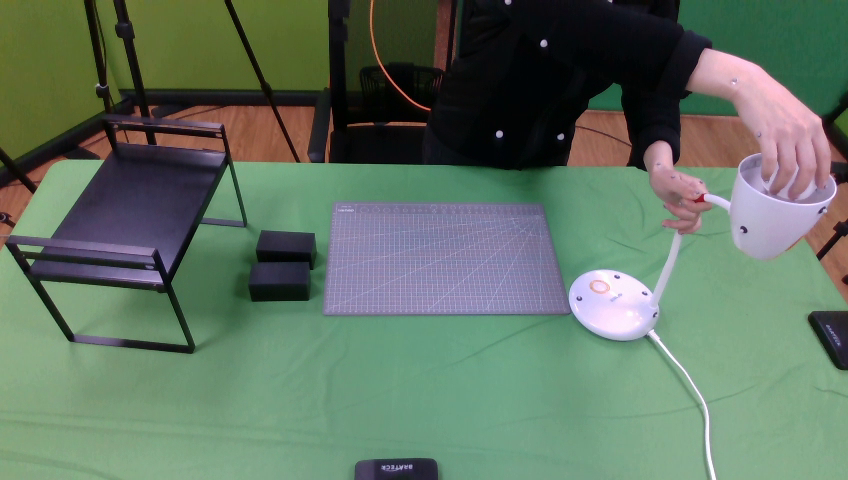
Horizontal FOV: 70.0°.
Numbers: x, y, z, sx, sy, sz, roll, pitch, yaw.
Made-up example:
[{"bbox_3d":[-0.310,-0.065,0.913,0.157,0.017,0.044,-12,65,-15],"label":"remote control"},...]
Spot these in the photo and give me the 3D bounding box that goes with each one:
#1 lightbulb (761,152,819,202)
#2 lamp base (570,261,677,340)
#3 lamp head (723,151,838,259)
[{"bbox_3d":[0.443,-0.058,0.750,0.059,0.108,0.059,2,39,-1],"label":"lightbulb"},{"bbox_3d":[0.359,0.068,1.046,0.178,0.181,0.160,37,55,25],"label":"lamp base"},{"bbox_3d":[0.439,-0.038,0.772,0.112,0.123,0.111,1,46,0],"label":"lamp head"}]
